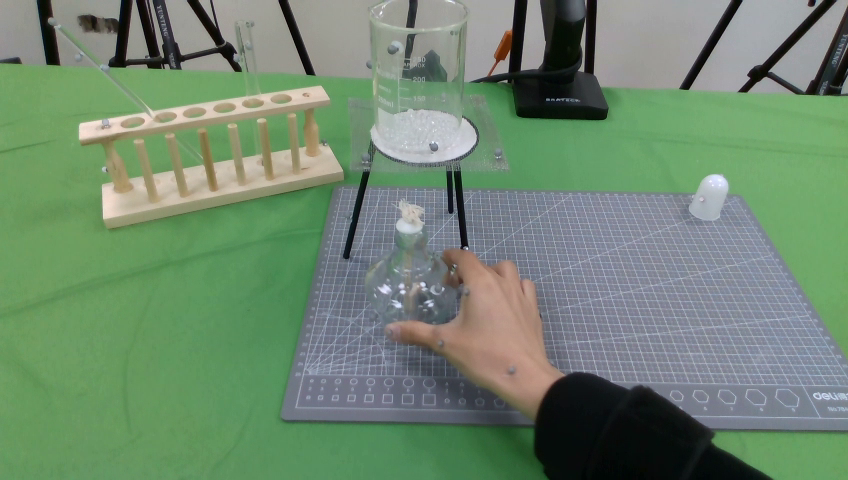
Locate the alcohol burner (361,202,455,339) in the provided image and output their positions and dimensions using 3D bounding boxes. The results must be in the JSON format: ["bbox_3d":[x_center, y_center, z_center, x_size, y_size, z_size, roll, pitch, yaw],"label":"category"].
[{"bbox_3d":[-0.013,0.021,0.483,0.078,0.120,0.077,0,38,0],"label":"alcohol burner"}]

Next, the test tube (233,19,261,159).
[{"bbox_3d":[-0.181,-0.151,0.630,0.017,0.151,0.017,2,37,-1],"label":"test tube"}]

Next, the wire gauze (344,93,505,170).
[{"bbox_3d":[-0.004,-0.089,0.497,0.125,0.011,0.120,-4,38,-3],"label":"wire gauze"}]

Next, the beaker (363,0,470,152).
[{"bbox_3d":[-0.009,-0.126,0.464,0.083,0.101,0.074,22,44,24],"label":"beaker"}]

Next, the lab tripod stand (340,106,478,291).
[{"bbox_3d":[-0.006,-0.039,0.539,0.148,0.132,0.147,1,42,0],"label":"lab tripod stand"}]

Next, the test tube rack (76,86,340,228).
[{"bbox_3d":[-0.216,-0.091,0.633,0.243,0.086,0.066,-14,43,-19],"label":"test tube rack"}]

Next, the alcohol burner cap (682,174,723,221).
[{"bbox_3d":[0.293,-0.047,0.634,0.034,0.048,0.033,1,40,-1],"label":"alcohol burner cap"}]

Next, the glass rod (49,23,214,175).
[{"bbox_3d":[-0.274,-0.127,0.586,0.008,0.202,0.008,-17,47,20],"label":"glass rod"}]
